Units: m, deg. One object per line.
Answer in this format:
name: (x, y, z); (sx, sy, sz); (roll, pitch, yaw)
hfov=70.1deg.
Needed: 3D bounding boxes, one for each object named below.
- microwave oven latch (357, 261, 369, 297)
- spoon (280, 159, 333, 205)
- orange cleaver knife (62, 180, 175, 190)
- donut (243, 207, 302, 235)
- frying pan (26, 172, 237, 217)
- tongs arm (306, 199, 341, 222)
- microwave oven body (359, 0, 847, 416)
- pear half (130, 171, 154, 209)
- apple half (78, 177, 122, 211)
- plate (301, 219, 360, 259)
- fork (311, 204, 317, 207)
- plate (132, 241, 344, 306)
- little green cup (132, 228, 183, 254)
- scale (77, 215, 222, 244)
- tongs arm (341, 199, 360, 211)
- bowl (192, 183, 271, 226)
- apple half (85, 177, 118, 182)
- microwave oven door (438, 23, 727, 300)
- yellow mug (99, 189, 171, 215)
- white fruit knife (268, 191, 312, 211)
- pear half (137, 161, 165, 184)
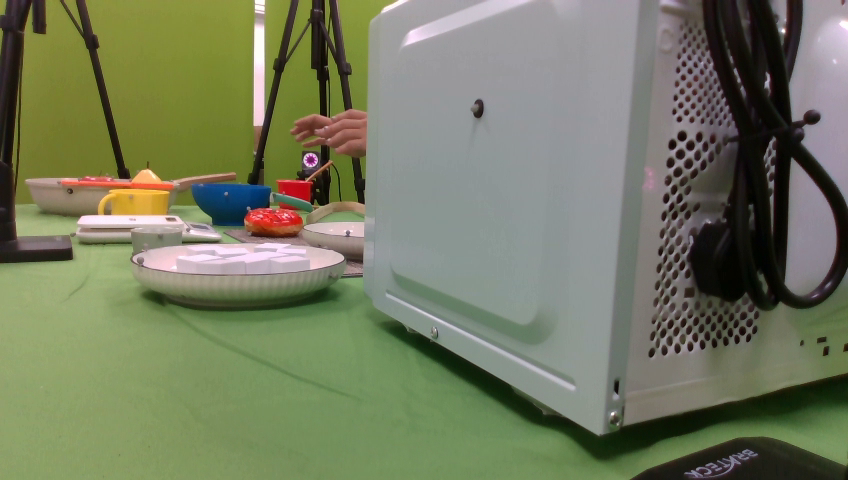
microwave oven latch: (-0.019, 0.033, 0.530); (0.079, 0.029, 0.030); (-1, 7, -26)
spoon: (-0.316, -0.159, 1.640); (0.194, 0.022, 0.041); (-50, 32, -20)
orange cleaver knife: (-0.600, -0.110, 1.193); (0.212, 0.012, 0.077); (1, 8, -13)
donut: (-0.261, -0.032, 1.043); (0.099, 0.048, 0.099); (4, 9, 0)
frying pan: (-0.624, -0.118, 1.387); (0.305, 0.102, 0.490); (8, 17, 32)
tongs arm: (-0.233, -0.072, 1.414); (0.028, 0.028, 0.387); (-3, 7, 1)
microwave oven body: (0.211, -0.047, 0.474); (0.444, 0.260, 0.324); (-1, 7, -28)
pear half: (-0.640, -0.114, 1.361); (0.031, 0.088, 0.070); (5, 10, 5)
apple half: (-0.698, -0.099, 1.298); (0.081, 0.074, 0.053); (-9, 9, -40)
plate: (-0.077, -0.002, 0.893); (0.209, 0.038, 0.209); (3, 8, 0)
fork: (-0.356, -0.105, 1.526); (0.208, 0.018, 0.028); (16, -6, -41)
plate: (-0.187, 0.033, 0.625); (0.208, 0.039, 0.207); (2, 8, 0)
little green cup: (-0.342, 0.006, 0.779); (0.061, 0.038, 0.061); (2, 8, 0)
scale: (-0.434, -0.019, 0.963); (0.202, 0.031, 0.148); (-1, 9, -27)
tongs arm: (-0.148, -0.071, 1.429); (0.051, 0.026, 0.383); (-2, 8, -14)
bowl: (-0.382, -0.071, 1.202); (0.151, 0.077, 0.151); (3, 7, 0)
apple half: (-0.673, -0.096, 1.269); (0.082, 0.081, 0.032); (-4, 6, -40)
microwave oven door: (0.181, -0.073, 0.621); (0.358, 0.243, 0.039); (-2, 8, -29)
yellow mug: (-0.518, -0.055, 1.080); (0.099, 0.064, 0.131); (7, 9, 26)
white fruit knife: (-0.364, -0.105, 1.464); (0.208, 0.027, 0.016); (15, 0, -34)
pear half: (-0.604, -0.120, 1.354); (0.056, 0.110, 0.076); (3, 11, 7)
